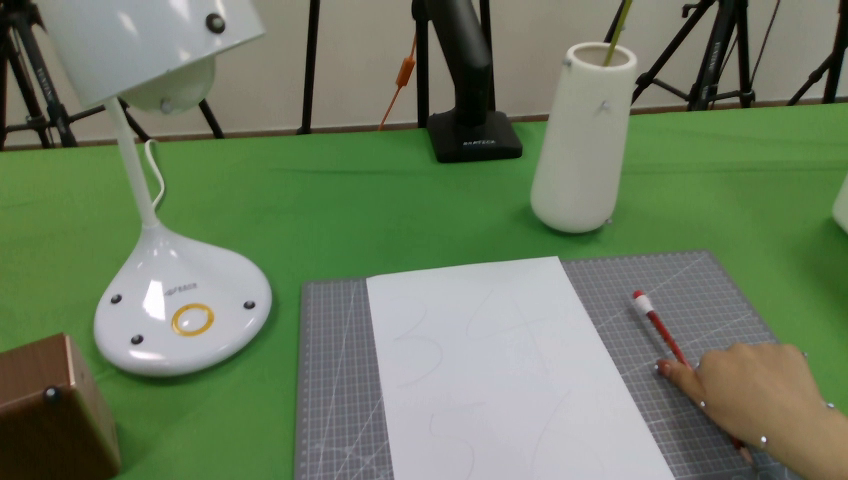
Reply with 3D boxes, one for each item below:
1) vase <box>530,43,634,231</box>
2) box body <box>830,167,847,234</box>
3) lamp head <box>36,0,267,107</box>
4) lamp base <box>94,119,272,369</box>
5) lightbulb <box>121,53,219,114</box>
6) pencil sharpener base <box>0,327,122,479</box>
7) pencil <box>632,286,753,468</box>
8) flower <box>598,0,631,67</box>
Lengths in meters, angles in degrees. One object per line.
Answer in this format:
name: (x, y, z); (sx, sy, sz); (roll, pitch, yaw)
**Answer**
vase: (0.173, -0.108, 0.667); (0.098, 0.202, 0.097); (0, 38, 0)
box body: (0.617, 0.006, 0.570); (0.254, 0.162, 0.360); (-3, 39, -5)
lamp head: (-0.165, -0.148, 0.335); (0.112, 0.123, 0.111); (-23, 18, 9)
lamp base: (-0.236, -0.005, 0.542); (0.161, 0.182, 0.177); (-27, 45, -30)
lightbulb: (-0.155, -0.124, 0.338); (0.059, 0.108, 0.059); (-13, 19, 5)
pencil sharpener base: (-0.275, 0.127, 0.435); (0.077, 0.108, 0.060); (-19, 44, -22)
pencil: (0.232, 0.112, 0.536); (0.012, 0.012, 0.192); (-8, 44, -11)
flower: (0.171, -0.158, 0.598); (0.044, 0.364, 0.038); (34, 62, 16)
